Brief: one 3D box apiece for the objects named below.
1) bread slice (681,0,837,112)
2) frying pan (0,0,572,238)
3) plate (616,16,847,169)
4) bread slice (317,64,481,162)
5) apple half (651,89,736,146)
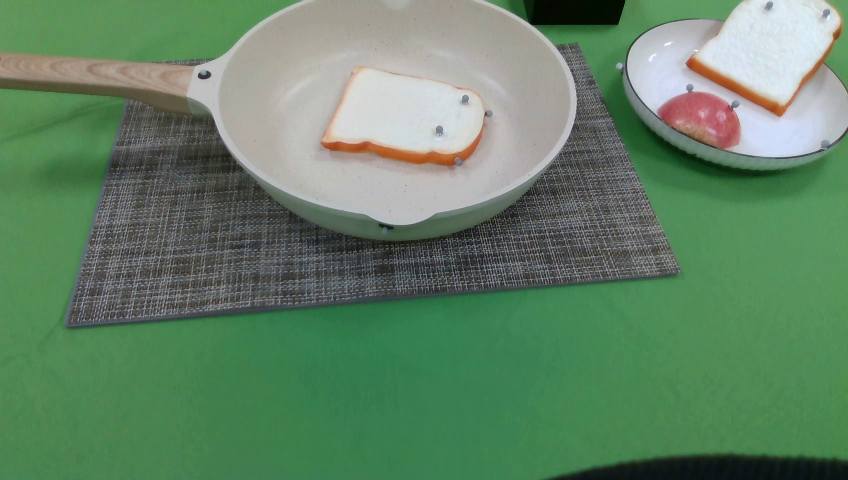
[{"bbox_3d":[0.338,-0.201,0.601,0.104,0.019,0.131,37,80,22],"label":"bread slice"},{"bbox_3d":[-0.129,-0.122,0.498,0.489,0.103,0.303,5,51,-9],"label":"frying pan"},{"bbox_3d":[0.285,-0.139,0.578,0.208,0.039,0.205,1,52,-1],"label":"plate"},{"bbox_3d":[-0.017,-0.114,0.546,0.134,0.018,0.106,8,53,4],"label":"bread slice"},{"bbox_3d":[0.243,-0.114,0.533,0.081,0.033,0.080,14,29,-8],"label":"apple half"}]
